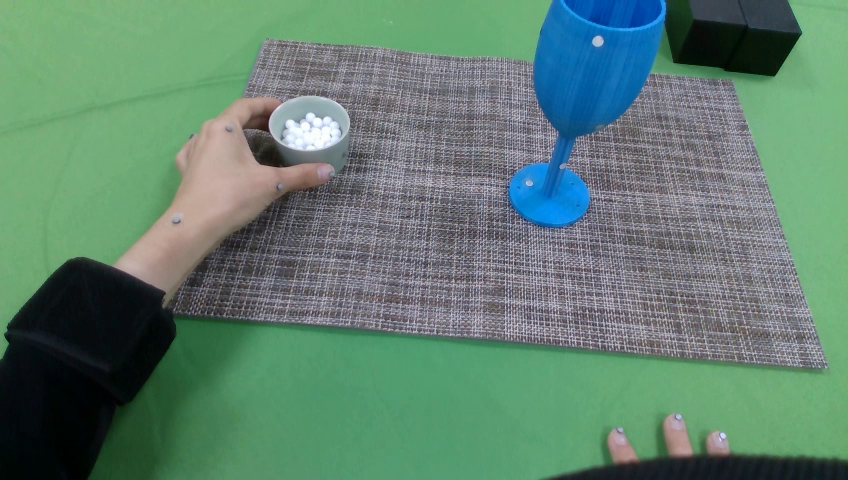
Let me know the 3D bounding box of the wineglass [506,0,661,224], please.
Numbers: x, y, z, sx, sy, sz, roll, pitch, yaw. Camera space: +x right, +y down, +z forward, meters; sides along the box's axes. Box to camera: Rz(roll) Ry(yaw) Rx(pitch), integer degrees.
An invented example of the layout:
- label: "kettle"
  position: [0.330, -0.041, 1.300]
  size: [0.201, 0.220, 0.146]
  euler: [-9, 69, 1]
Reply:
- label: "wineglass"
  position: [0.100, -0.089, 0.414]
  size: [0.074, 0.173, 0.073]
  euler: [2, 54, -2]

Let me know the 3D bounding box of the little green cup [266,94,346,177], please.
- label: "little green cup"
  position: [-0.091, -0.081, 0.479]
  size: [0.061, 0.039, 0.061]
  euler: [2, 53, -2]
